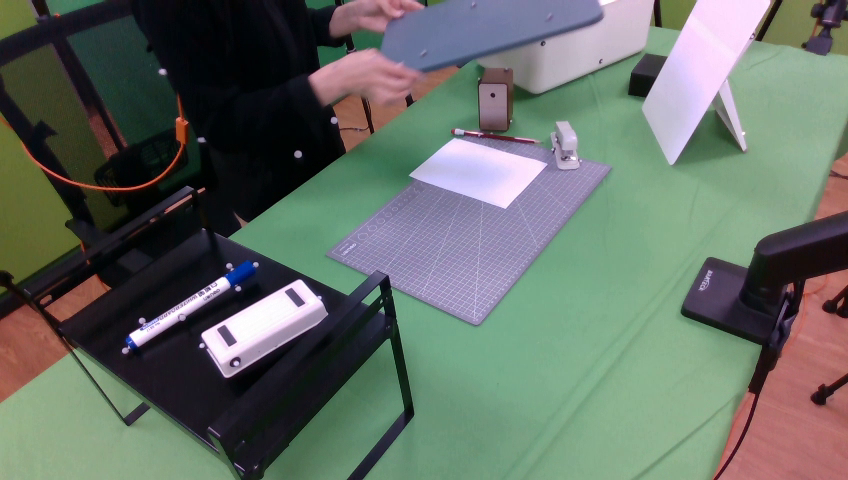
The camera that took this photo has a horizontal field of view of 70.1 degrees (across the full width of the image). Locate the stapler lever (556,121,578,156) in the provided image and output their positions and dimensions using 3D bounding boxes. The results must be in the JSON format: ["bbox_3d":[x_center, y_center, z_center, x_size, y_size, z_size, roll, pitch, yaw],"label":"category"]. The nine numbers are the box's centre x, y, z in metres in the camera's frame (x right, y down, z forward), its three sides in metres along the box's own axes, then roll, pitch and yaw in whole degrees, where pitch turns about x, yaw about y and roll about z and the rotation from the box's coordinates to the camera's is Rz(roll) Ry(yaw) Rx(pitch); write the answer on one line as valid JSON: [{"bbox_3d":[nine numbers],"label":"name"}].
[{"bbox_3d":[0.266,-0.198,1.128,0.027,0.040,0.117,0,38,3],"label":"stapler lever"}]

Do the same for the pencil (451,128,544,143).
[{"bbox_3d":[0.145,-0.207,1.204,0.193,0.012,0.012,11,44,20],"label":"pencil"}]

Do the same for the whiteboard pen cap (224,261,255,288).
[{"bbox_3d":[-0.207,0.039,0.677,0.033,0.018,0.018,-36,47,-18],"label":"whiteboard pen cap"}]

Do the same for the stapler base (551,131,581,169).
[{"bbox_3d":[0.268,-0.178,1.142,0.041,0.024,0.130,0,37,3],"label":"stapler base"}]

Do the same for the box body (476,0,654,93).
[{"bbox_3d":[0.319,-0.498,1.405,0.365,0.161,0.252,-26,44,-21],"label":"box body"}]

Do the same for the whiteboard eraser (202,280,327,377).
[{"bbox_3d":[-0.156,0.088,0.600,0.113,0.042,0.055,-30,47,-24],"label":"whiteboard eraser"}]

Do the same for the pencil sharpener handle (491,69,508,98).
[{"bbox_3d":[0.155,-0.330,1.254,0.036,0.068,0.030,18,44,3],"label":"pencil sharpener handle"}]

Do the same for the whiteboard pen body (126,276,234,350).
[{"bbox_3d":[-0.251,0.070,0.649,0.141,0.017,0.017,-36,48,-26],"label":"whiteboard pen body"}]

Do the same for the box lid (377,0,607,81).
[{"bbox_3d":[0.105,-0.372,1.021,0.370,0.015,0.262,-12,39,13],"label":"box lid"}]

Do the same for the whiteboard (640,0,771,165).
[{"bbox_3d":[0.544,-0.299,1.076,0.144,0.305,0.216,12,40,-7],"label":"whiteboard"}]

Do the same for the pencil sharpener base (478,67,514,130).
[{"bbox_3d":[0.148,-0.287,1.225,0.061,0.107,0.076,5,42,15],"label":"pencil sharpener base"}]
